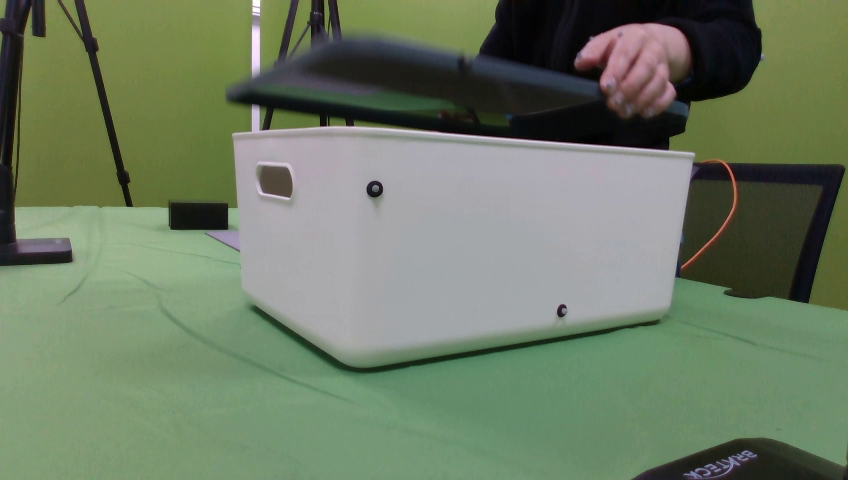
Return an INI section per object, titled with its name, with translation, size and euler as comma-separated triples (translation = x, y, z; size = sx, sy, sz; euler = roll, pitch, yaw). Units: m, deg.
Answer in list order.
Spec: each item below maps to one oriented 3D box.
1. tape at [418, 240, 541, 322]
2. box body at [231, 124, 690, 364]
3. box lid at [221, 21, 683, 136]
[tape]
translation = 0.052, 0.035, 0.571
size = 0.117, 0.052, 0.117
euler = 1, 10, 0
[box body]
translation = 0.031, -0.013, 0.563
size = 0.366, 0.160, 0.253
euler = -3, 8, -33
[box lid]
translation = 0.025, -0.128, 0.560
size = 0.374, 0.015, 0.262
euler = 1, 2, -34
